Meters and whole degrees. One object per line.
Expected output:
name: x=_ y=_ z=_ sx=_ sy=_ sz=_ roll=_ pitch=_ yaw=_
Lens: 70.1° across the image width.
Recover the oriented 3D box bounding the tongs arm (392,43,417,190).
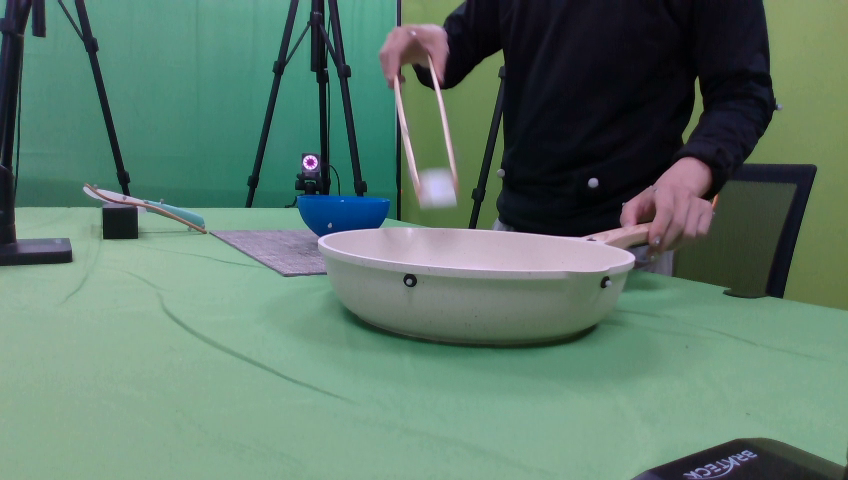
tongs arm: x=-0.016 y=-0.184 z=0.819 sx=0.051 sy=0.026 sz=0.383 roll=-13 pitch=38 yaw=0

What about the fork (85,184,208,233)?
fork: x=-0.462 y=-0.051 z=1.020 sx=0.208 sy=0.018 sz=0.028 roll=22 pitch=-8 yaw=-37

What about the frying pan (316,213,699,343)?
frying pan: x=0.133 y=0.013 z=0.630 sx=0.490 sy=0.102 sz=0.305 roll=-12 pitch=14 yaw=-30

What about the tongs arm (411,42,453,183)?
tongs arm: x=0.010 y=-0.189 z=0.818 sx=0.028 sy=0.028 sz=0.386 roll=-14 pitch=38 yaw=5

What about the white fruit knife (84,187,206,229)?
white fruit knife: x=-0.488 y=-0.059 z=1.071 sx=0.208 sy=0.027 sz=0.016 roll=17 pitch=4 yaw=-33

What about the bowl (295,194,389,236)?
bowl: x=-0.132 y=-0.032 z=0.980 sx=0.151 sy=0.077 sz=0.151 roll=2 pitch=7 yaw=0
